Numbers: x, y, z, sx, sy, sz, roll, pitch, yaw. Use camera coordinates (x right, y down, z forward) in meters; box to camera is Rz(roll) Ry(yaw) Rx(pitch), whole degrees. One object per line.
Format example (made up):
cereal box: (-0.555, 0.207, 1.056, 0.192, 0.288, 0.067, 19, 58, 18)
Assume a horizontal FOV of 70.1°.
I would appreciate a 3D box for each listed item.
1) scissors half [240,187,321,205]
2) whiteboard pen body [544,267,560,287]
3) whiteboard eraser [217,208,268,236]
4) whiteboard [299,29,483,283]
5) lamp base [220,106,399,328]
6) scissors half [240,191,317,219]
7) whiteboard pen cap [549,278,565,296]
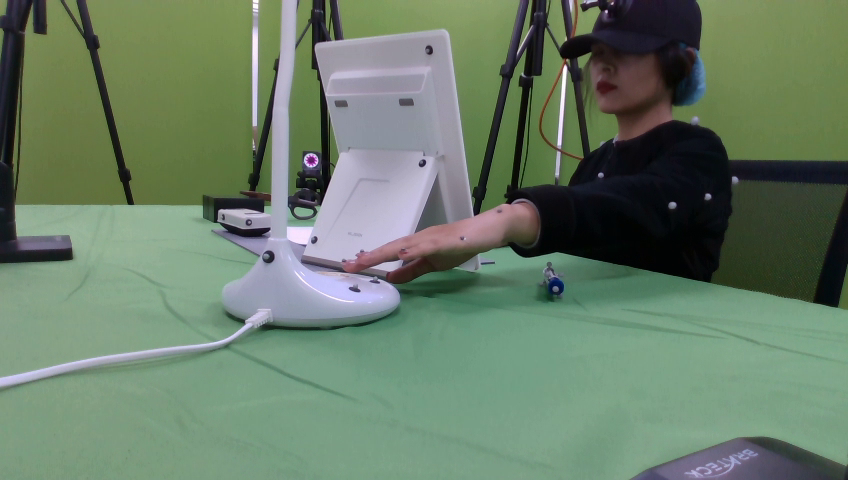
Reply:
scissors half: (-0.311, -0.097, 1.319, 0.176, 0.040, 0.012, -1, 30, -24)
whiteboard pen body: (0.149, 0.047, 0.697, 0.017, 0.017, 0.141, 4, 4, 9)
whiteboard eraser: (-0.309, -0.031, 1.044, 0.056, 0.042, 0.112, -2, 9, -40)
whiteboard: (-0.074, -0.082, 0.742, 0.216, 0.305, 0.144, 9, 29, 38)
lamp base: (-0.101, -0.023, 0.531, 0.160, 0.180, 0.179, 4, 10, 10)
scissors half: (-0.317, -0.079, 1.326, 0.176, 0.040, 0.013, 18, 16, -31)
whiteboard pen cap: (0.140, 0.050, 0.639, 0.018, 0.018, 0.033, 4, 2, 8)
